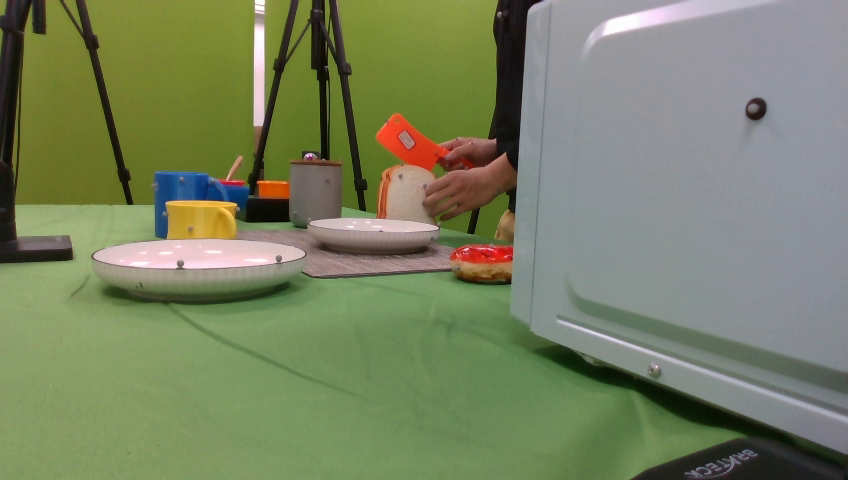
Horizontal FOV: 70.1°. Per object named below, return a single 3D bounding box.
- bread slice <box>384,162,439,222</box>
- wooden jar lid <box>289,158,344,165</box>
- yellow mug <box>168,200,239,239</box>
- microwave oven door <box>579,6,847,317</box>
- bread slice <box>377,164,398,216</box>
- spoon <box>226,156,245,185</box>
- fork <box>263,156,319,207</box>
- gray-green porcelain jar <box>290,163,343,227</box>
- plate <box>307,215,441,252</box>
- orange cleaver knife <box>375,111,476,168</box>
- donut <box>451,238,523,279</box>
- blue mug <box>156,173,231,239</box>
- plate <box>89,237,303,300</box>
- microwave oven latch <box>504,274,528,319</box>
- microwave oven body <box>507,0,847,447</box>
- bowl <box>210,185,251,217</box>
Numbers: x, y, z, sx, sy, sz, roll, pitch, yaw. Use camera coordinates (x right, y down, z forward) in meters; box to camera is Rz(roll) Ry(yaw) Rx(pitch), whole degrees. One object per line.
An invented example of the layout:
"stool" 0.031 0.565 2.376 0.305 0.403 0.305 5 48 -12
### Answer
"bread slice" -0.025 -0.076 1.121 0.107 0.134 0.018 -1 6 -20
"wooden jar lid" -0.215 -0.153 1.212 0.108 0.020 0.108 2 5 0
"yellow mug" -0.319 -0.023 0.904 0.130 0.064 0.100 9 11 36
"microwave oven door" 0.294 -0.067 0.570 0.358 0.243 0.039 -3 9 -31
"bread slice" -0.039 -0.081 1.169 0.105 0.131 0.019 4 -1 -22
"spoon" -0.477 -0.145 1.492 0.041 0.022 0.193 0 51 12
"fork" -0.331 -0.144 1.505 0.207 0.018 0.028 -42 -20 22
"gray-green porcelain jar" -0.217 -0.091 1.221 0.106 0.126 0.106 2 7 0
"plate" -0.078 -0.012 0.954 0.209 0.038 0.209 2 8 0
"orange cleaver knife" 0.005 -0.175 1.174 0.212 0.077 0.012 26 -5 -23
"donut" 0.083 0.022 0.745 0.099 0.048 0.099 1 5 0
"blue mug" -0.381 -0.057 1.004 0.117 0.106 0.082 1 8 -12
"plate" -0.233 0.029 0.637 0.208 0.039 0.207 2 7 0
"microwave oven latch" 0.100 0.041 0.470 0.079 0.029 0.030 -1 7 -27
"microwave oven body" 0.331 -0.042 0.425 0.444 0.260 0.324 -2 8 -31
"bowl" -0.408 -0.064 1.155 0.151 0.077 0.151 2 8 0
